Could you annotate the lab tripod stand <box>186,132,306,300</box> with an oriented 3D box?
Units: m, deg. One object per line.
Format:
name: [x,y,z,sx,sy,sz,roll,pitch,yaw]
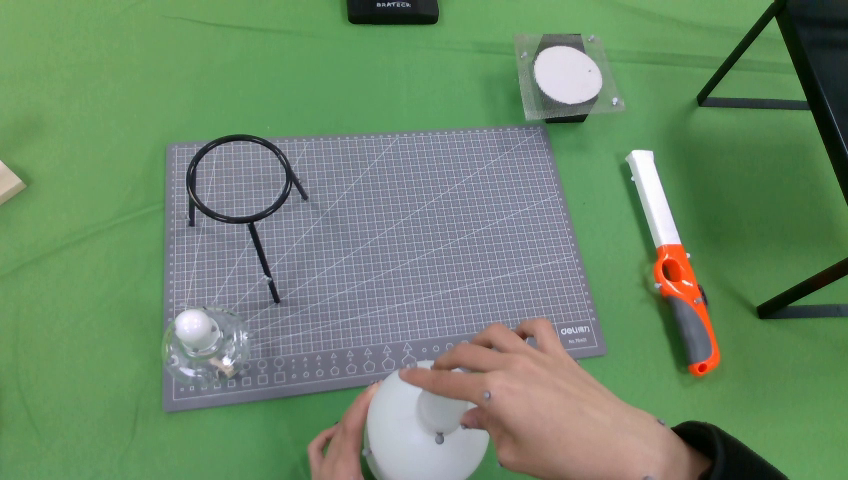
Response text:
lab tripod stand: [-0.168,-0.028,0.591,0.149,0.132,0.147,4,66,-8]

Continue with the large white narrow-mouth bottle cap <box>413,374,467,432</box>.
large white narrow-mouth bottle cap: [0.011,0.113,0.420,0.038,0.024,0.037,3,65,-6]

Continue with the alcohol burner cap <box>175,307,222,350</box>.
alcohol burner cap: [-0.193,0.074,0.513,0.034,0.048,0.033,2,71,-7]

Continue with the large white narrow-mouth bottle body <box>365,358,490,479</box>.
large white narrow-mouth bottle body: [0.002,0.153,0.504,0.102,0.196,0.101,3,65,-5]

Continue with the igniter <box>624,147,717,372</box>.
igniter: [0.282,0.015,0.698,0.057,0.025,0.274,0,66,-20]

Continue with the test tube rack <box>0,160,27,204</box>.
test tube rack: [-0.519,-0.017,0.565,0.066,0.085,0.242,40,67,11]

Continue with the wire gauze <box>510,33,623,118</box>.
wire gauze: [0.171,-0.204,0.737,0.122,0.011,0.124,-3,67,-9]

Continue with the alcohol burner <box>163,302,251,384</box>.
alcohol burner: [-0.198,0.088,0.546,0.078,0.120,0.077,4,64,-8]
